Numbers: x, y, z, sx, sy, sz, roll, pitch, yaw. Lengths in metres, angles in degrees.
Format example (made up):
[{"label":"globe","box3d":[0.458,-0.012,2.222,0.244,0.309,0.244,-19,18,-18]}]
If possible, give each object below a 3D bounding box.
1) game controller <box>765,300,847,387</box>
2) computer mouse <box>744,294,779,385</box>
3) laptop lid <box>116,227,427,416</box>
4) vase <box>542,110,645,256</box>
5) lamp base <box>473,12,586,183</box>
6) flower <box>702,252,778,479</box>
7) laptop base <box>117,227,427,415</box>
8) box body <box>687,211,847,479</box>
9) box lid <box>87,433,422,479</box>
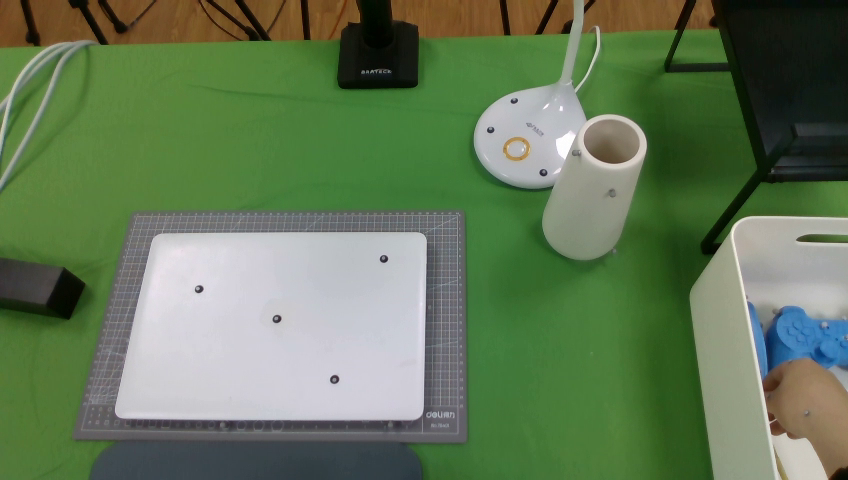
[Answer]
[{"label":"game controller","box3d":[0.462,0.117,0.679,0.155,0.052,0.096,3,62,2]},{"label":"computer mouse","box3d":[0.356,0.109,0.690,0.063,0.041,0.116,-4,55,4]},{"label":"laptop lid","box3d":[-0.175,0.090,0.725,0.356,0.013,0.240,1,66,3]},{"label":"vase","box3d":[0.192,-0.061,0.698,0.098,0.201,0.097,-2,62,4]},{"label":"lamp base","box3d":[0.152,-0.192,0.774,0.160,0.181,0.178,31,66,16]},{"label":"flower","box3d":[0.354,0.186,0.640,0.044,0.038,0.359,8,69,-40]},{"label":"laptop base","box3d":[-0.174,0.093,0.737,0.354,0.023,0.233,0,67,2]},{"label":"box body","box3d":[0.423,0.169,0.596,0.254,0.161,0.361,1,64,4]},{"label":"box lid","box3d":[-0.189,0.335,0.625,0.371,0.015,0.261,0,64,2]}]
